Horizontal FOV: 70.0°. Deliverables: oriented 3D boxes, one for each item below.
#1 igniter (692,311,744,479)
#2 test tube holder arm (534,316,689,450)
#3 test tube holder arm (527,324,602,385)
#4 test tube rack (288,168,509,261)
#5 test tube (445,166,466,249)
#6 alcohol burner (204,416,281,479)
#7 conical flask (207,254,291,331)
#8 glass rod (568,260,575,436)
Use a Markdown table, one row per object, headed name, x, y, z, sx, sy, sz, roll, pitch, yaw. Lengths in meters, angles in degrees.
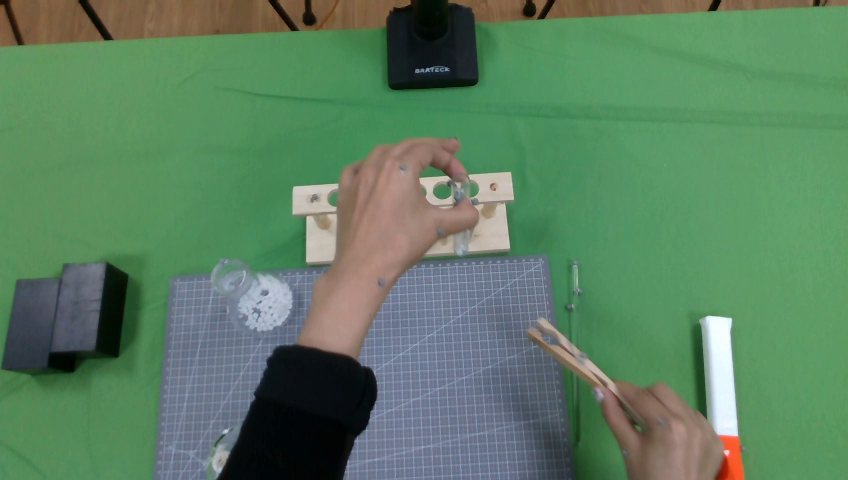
| name | x | y | z | sx | sy | sz | roll | pitch | yaw |
| --- | --- | --- | --- | --- | --- | --- | --- | --- | --- |
| igniter | 0.311 | 0.212 | 0.642 | 0.057 | 0.025 | 0.275 | 8 | 72 | -7 |
| test tube holder arm | 0.175 | 0.134 | 0.581 | 0.177 | 0.015 | 0.013 | 39 | 76 | 25 |
| test tube holder arm | 0.139 | 0.113 | 0.598 | 0.087 | 0.015 | 0.010 | 34 | 73 | 24 |
| test tube rack | -0.026 | -0.027 | 0.698 | 0.242 | 0.085 | 0.066 | -4 | 71 | 0 |
| test tube | 0.029 | -0.024 | 0.544 | 0.017 | 0.151 | 0.017 | -1 | 68 | 3 |
| alcohol burner | -0.186 | 0.215 | 0.603 | 0.078 | 0.120 | 0.077 | -1 | 70 | 3 |
| conical flask | -0.193 | 0.051 | 0.652 | 0.075 | 0.122 | 0.075 | 0 | 71 | 1 |
| glass rod | 0.167 | 0.118 | 0.685 | 0.008 | 0.008 | 0.198 | 3 | 74 | 2 |
